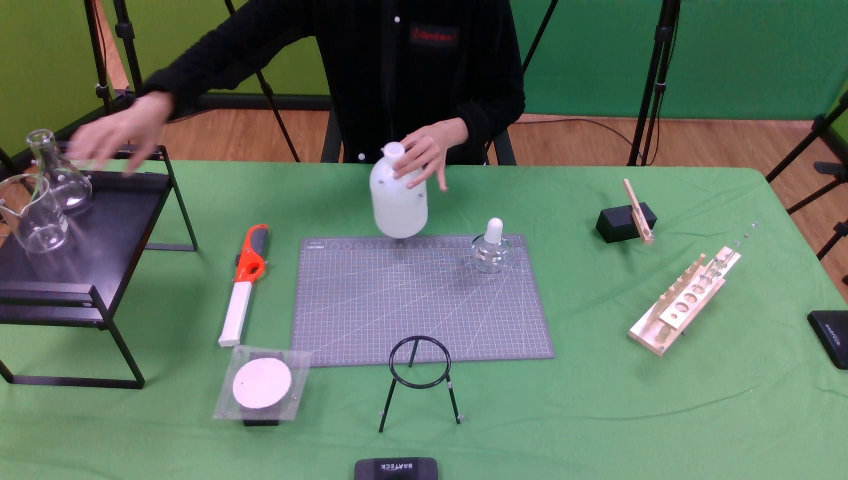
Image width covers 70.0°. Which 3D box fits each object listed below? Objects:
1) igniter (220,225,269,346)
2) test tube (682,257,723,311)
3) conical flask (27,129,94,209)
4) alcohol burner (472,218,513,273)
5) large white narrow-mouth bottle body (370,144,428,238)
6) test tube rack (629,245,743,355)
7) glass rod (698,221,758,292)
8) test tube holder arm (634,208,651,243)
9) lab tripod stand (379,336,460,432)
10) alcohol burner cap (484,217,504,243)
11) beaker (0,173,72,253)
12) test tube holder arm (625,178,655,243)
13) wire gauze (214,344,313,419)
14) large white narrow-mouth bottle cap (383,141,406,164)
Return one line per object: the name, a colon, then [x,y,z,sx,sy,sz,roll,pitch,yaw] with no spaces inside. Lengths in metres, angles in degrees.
igniter: [-0.323,0.072,1.100,0.057,0.025,0.274,-6,46,5]
test tube: [0.475,0.080,1.037,0.017,0.151,0.017,1,50,-1]
conical flask: [-0.575,-0.113,0.946,0.075,0.122,0.075,2,46,-2]
alcohol burner: [0.128,0.005,1.132,0.078,0.120,0.077,0,47,0]
large white narrow-mouth bottle body: [-0.046,-0.096,1.095,0.102,0.195,0.101,-1,53,2]
test tube rack: [0.474,0.095,1.091,0.242,0.085,0.066,-34,56,-31]
glass rod: [0.527,0.035,1.059,0.008,0.200,0.008,5,49,-6]
test tube holder arm: [0.428,-0.030,1.189,0.010,0.015,0.087,1,47,-2]
lab tripod stand: [-0.010,0.214,0.911,0.148,0.132,0.147,1,45,0]
alcohol burner cap: [0.129,-0.021,1.107,0.034,0.048,0.033,4,41,-3]
beaker: [-0.569,-0.035,0.886,0.074,0.101,0.083,-12,48,-14]
test tube holder arm: [0.433,-0.062,1.220,0.013,0.015,0.177,1,47,-3]
wire gauze: [-0.241,0.213,0.915,0.121,0.011,0.124,5,46,1]
large white narrow-mouth bottle cap: [-0.050,-0.148,1.026,0.038,0.024,0.037,-1,53,2]
